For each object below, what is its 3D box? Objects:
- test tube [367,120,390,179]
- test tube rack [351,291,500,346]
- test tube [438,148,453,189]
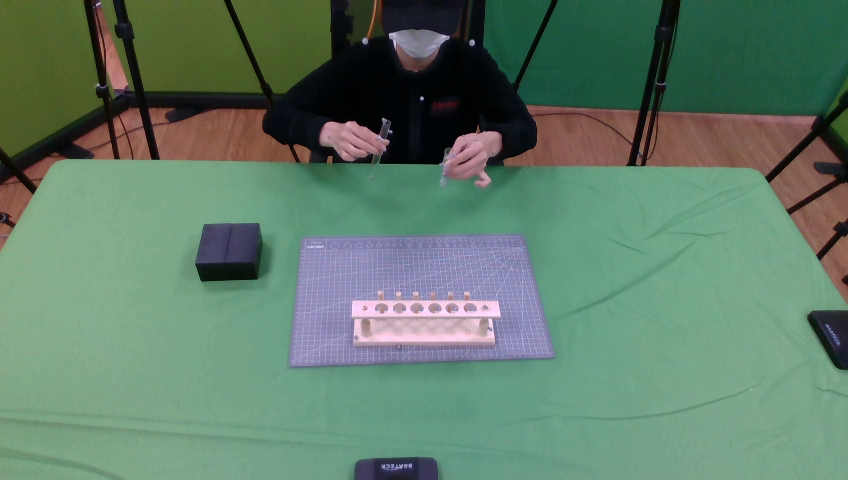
[{"bbox_3d":[-0.091,-0.175,1.193,0.017,0.151,0.017,10,48,-12],"label":"test tube"},{"bbox_3d":[0.000,0.129,1.026,0.242,0.085,0.066,1,46,-4],"label":"test tube rack"},{"bbox_3d":[0.039,-0.131,1.135,0.017,0.151,0.017,1,70,-3],"label":"test tube"}]
